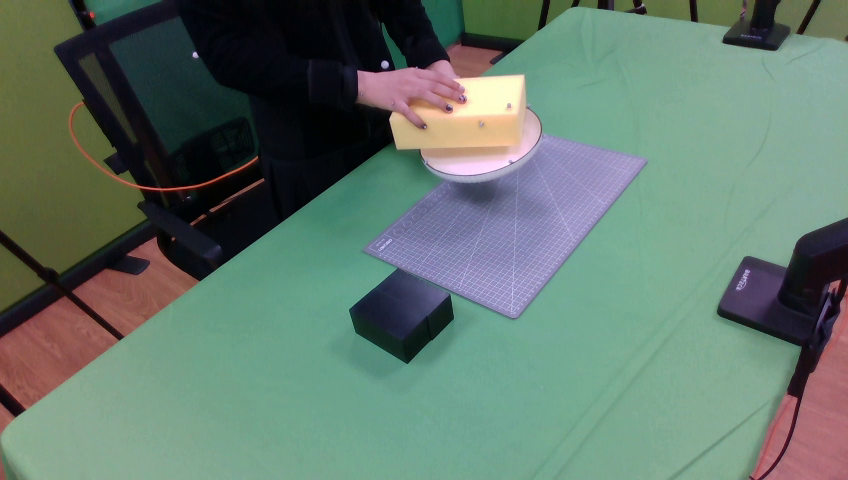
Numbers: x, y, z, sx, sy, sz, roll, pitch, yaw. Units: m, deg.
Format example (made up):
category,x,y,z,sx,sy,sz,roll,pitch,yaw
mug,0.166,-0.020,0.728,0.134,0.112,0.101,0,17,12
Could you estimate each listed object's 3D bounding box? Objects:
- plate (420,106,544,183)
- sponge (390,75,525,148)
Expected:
category,x,y,z,sx,sy,sz,roll,pitch,yaw
plate,0.097,-0.162,1.018,0.209,0.038,0.208,-9,44,9
sponge,0.060,-0.212,0.999,0.206,0.061,0.118,0,45,12
